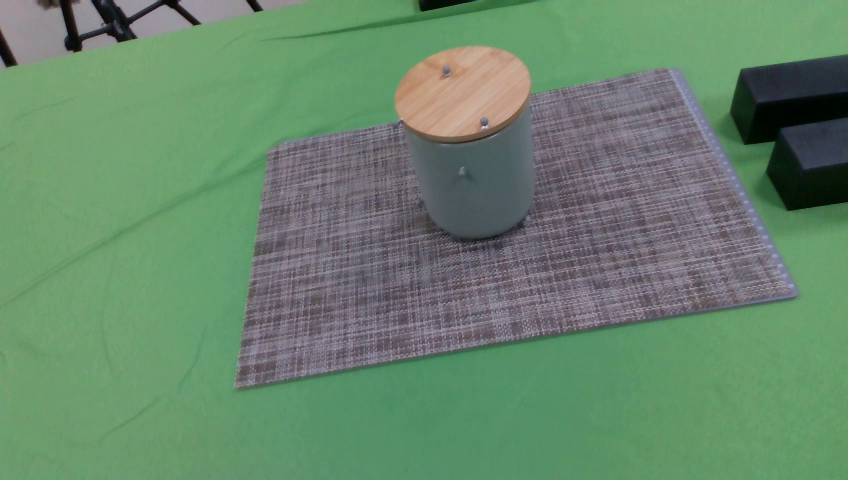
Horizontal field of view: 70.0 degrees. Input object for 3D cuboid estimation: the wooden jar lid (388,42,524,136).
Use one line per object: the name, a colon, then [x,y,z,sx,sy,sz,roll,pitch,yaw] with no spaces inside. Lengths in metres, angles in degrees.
wooden jar lid: [0.026,-0.118,0.482,0.108,0.021,0.107,-6,54,8]

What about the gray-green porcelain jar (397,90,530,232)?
gray-green porcelain jar: [0.038,-0.077,0.531,0.106,0.128,0.105,-6,51,8]
